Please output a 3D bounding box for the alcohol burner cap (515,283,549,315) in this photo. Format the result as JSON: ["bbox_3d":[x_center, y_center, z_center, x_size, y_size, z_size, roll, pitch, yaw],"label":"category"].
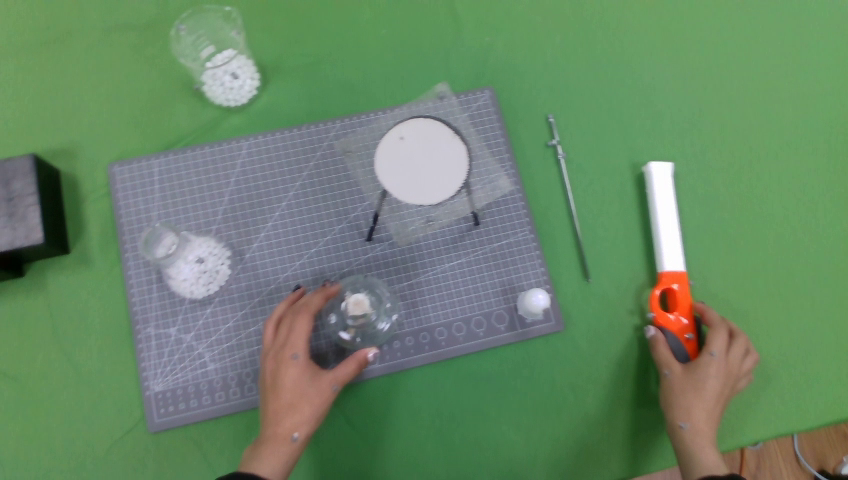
[{"bbox_3d":[0.118,0.061,0.650,0.034,0.048,0.033,1,77,-4],"label":"alcohol burner cap"}]

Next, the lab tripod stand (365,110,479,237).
[{"bbox_3d":[-0.005,-0.062,0.624,0.148,0.132,0.148,1,79,-3],"label":"lab tripod stand"}]

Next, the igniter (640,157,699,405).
[{"bbox_3d":[0.272,0.041,0.674,0.057,0.025,0.275,1,78,-12],"label":"igniter"}]

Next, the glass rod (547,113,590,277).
[{"bbox_3d":[0.165,-0.054,0.698,0.008,0.008,0.198,-9,78,-5],"label":"glass rod"}]

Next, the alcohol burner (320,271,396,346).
[{"bbox_3d":[-0.066,0.066,0.603,0.078,0.119,0.077,1,77,-4],"label":"alcohol burner"}]

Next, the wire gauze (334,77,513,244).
[{"bbox_3d":[-0.001,-0.074,0.557,0.125,0.011,0.121,-29,81,-9],"label":"wire gauze"}]

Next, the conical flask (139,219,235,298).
[{"bbox_3d":[-0.239,0.013,0.600,0.075,0.122,0.075,1,77,-3],"label":"conical flask"}]

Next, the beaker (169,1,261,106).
[{"bbox_3d":[-0.221,-0.200,0.662,0.074,0.100,0.084,35,77,5],"label":"beaker"}]
